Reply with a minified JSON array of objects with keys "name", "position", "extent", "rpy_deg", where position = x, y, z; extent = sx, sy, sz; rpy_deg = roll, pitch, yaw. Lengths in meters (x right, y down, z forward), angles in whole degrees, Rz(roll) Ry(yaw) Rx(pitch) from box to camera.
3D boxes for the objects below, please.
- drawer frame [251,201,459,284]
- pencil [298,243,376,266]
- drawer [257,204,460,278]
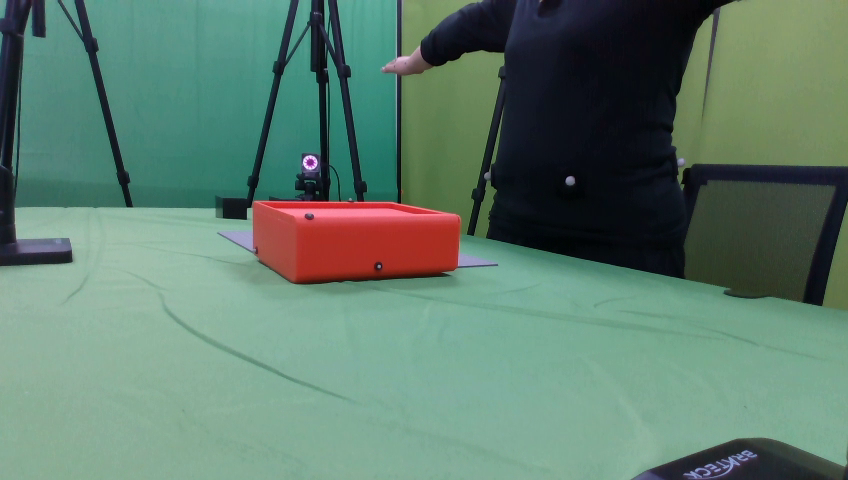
[{"name":"drawer frame","position":[-0.095,-0.005,0.788],"extent":[0.215,0.082,0.200],"rpy_deg":[-3,10,-30]},{"name":"pencil","position":[-0.107,0.016,0.791],"extent":[0.012,0.012,0.195],"rpy_deg":[6,8,22]},{"name":"drawer","position":[-0.090,-0.004,0.793],"extent":[0.213,0.073,0.193],"rpy_deg":[-3,10,-29]}]
